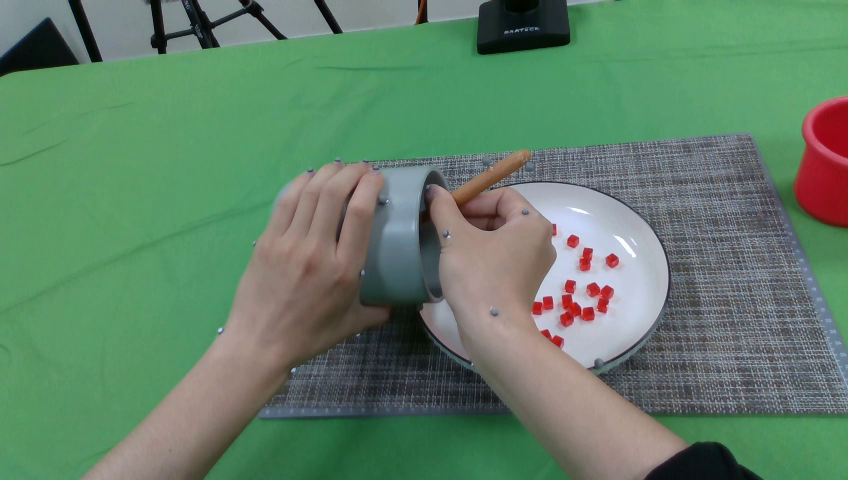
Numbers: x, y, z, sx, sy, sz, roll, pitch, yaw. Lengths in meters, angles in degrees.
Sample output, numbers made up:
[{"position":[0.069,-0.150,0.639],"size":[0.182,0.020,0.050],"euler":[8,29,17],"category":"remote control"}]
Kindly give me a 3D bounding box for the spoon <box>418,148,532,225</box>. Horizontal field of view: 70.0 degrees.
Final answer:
[{"position":[-0.005,-0.019,0.445],"size":[0.193,0.022,0.041],"euler":[-26,50,24],"category":"spoon"}]

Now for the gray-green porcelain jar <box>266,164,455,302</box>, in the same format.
[{"position":[-0.049,-0.004,0.474],"size":[0.126,0.107,0.105],"euler":[-1,48,17],"category":"gray-green porcelain jar"}]

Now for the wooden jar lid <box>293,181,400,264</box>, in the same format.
[{"position":[-0.076,-0.016,0.604],"size":[0.108,0.021,0.107],"euler":[-6,46,7],"category":"wooden jar lid"}]

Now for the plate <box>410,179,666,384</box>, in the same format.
[{"position":[0.091,0.032,0.508],"size":[0.207,0.039,0.205],"euler":[-6,47,7],"category":"plate"}]
